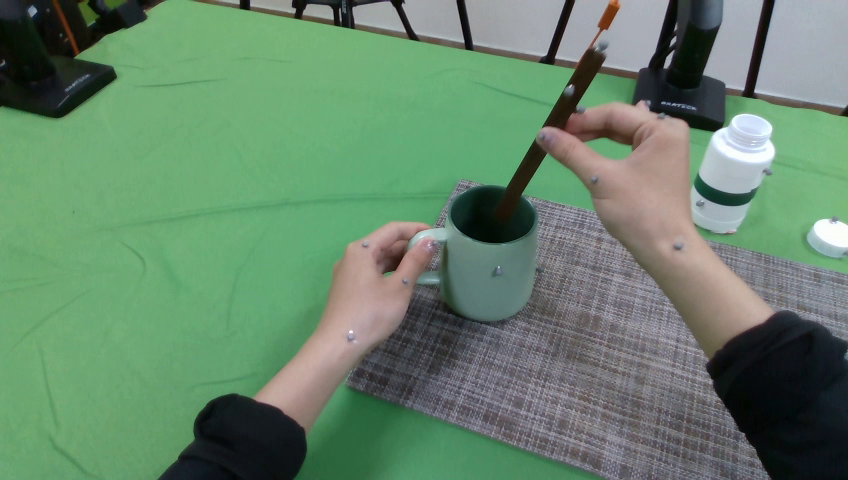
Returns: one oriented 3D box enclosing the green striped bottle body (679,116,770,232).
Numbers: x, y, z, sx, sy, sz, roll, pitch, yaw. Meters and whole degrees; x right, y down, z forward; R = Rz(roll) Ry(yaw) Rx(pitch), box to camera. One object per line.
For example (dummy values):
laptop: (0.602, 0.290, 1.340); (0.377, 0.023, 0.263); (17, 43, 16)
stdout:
green striped bottle body: (0.319, -0.071, 0.641); (0.063, 0.120, 0.062); (0, 45, 0)

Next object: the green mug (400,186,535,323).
green mug: (0.040, 0.017, 0.557); (0.125, 0.106, 0.091); (-7, 46, -7)

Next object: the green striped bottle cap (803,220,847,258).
green striped bottle cap: (0.431, -0.001, 0.646); (0.044, 0.020, 0.044); (1, 41, -1)

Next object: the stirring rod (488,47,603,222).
stirring rod: (0.084, -0.069, 0.450); (0.014, 0.177, 0.006); (31, 51, 4)
